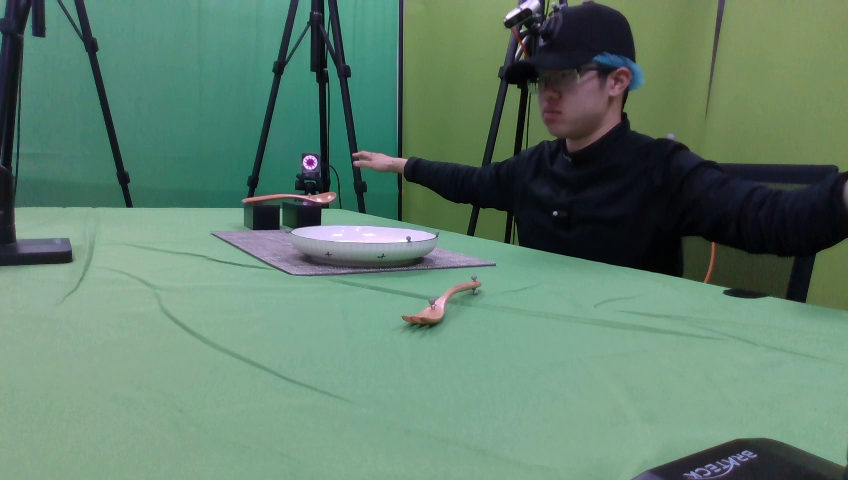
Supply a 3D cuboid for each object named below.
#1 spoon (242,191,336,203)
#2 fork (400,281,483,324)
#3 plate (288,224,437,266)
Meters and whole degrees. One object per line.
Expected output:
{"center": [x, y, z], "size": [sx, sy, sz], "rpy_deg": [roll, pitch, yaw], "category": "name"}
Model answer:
{"center": [-0.271, -0.087, 1.225], "size": [0.195, 0.021, 0.041], "rpy_deg": [-2, 31, -31], "category": "spoon"}
{"center": [0.025, 0.057, 0.590], "size": [0.028, 0.018, 0.208], "rpy_deg": [-2, 7, 21], "category": "fork"}
{"center": [-0.086, 0.007, 0.852], "size": [0.208, 0.039, 0.207], "rpy_deg": [2, 7, 0], "category": "plate"}
